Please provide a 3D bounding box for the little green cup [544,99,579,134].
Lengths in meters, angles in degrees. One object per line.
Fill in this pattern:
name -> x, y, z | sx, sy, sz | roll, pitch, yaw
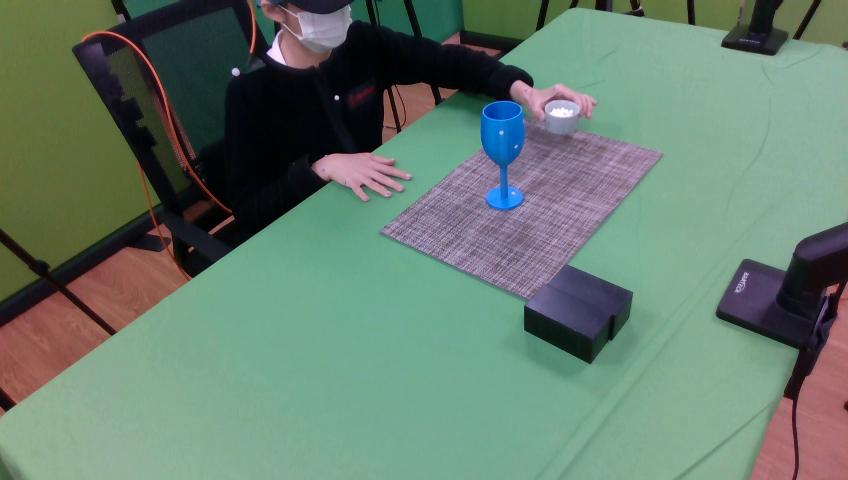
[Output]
little green cup -> 0.245, -0.221, 1.086 | 0.061, 0.039, 0.061 | 0, 43, 1

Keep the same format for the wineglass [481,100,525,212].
wineglass -> 0.131, -0.136, 0.992 | 0.074, 0.173, 0.073 | -5, 40, 4
